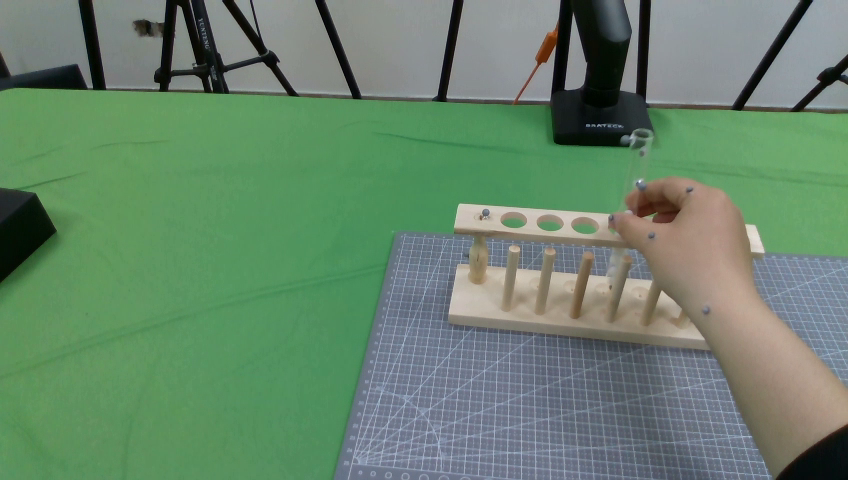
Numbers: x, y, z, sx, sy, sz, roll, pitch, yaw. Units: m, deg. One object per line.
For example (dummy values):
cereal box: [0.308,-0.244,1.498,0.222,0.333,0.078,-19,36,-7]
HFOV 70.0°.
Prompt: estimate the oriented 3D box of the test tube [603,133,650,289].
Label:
test tube: [0.160,-0.017,0.485,0.017,0.151,0.017,-3,40,2]

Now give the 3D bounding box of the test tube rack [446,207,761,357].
test tube rack: [0.143,0.034,0.511,0.242,0.086,0.066,5,41,7]
